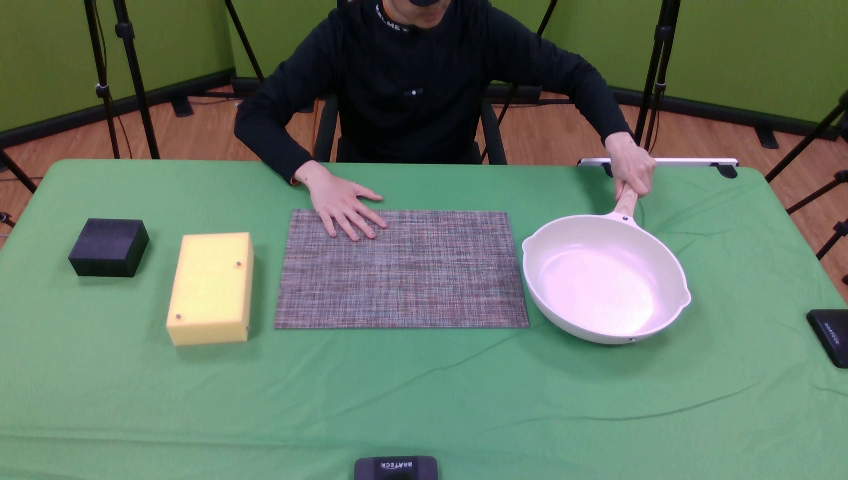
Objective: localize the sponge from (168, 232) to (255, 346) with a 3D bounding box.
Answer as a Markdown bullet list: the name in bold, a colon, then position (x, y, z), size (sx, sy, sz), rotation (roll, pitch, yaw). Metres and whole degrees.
- **sponge**: position (-0.368, 0.081, 1.065), size (0.118, 0.061, 0.205), rotation (-4, 46, -7)

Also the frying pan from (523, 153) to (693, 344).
- **frying pan**: position (0.369, -0.002, 1.164), size (0.306, 0.103, 0.486), rotation (21, 57, 16)
